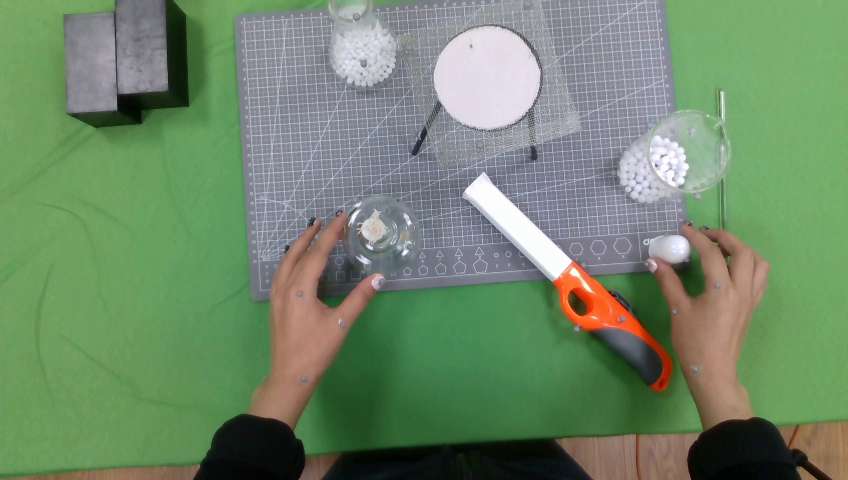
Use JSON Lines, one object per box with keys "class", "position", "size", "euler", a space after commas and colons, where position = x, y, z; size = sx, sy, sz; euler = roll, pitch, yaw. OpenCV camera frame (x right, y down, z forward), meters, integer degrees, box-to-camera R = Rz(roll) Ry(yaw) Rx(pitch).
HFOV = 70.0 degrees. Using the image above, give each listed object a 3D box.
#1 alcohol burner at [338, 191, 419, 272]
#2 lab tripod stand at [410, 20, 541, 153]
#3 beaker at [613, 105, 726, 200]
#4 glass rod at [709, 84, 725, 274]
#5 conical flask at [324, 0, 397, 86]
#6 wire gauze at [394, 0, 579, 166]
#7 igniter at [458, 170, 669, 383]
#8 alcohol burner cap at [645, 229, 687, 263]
{"class": "alcohol burner", "position": [-0.045, -0.010, 0.567], "size": [0.078, 0.119, 0.077], "euler": [0, 85, 2]}
{"class": "lab tripod stand", "position": [0.050, -0.131, 0.563], "size": [0.148, 0.131, 0.148], "euler": [0, 88, 1]}
{"class": "beaker", "position": [0.230, -0.080, 0.577], "size": [0.084, 0.100, 0.074], "euler": [-41, 87, -3]}
{"class": "glass rod", "position": [0.303, -0.064, 0.625], "size": [0.008, 0.008, 0.199], "euler": [-1, 86, 0]}
{"class": "conical flask", "position": [-0.066, -0.199, 0.573], "size": [0.075, 0.122, 0.075], "euler": [0, 86, 1]}
{"class": "wire gauze", "position": [0.051, -0.133, 0.496], "size": [0.125, 0.011, 0.121], "euler": [-17, 87, 0]}
{"class": "igniter", "position": [0.143, 0.036, 0.609], "size": [0.276, 0.025, 0.057], "euler": [44, 71, 2]}
{"class": "alcohol burner cap", "position": [0.243, 0.004, 0.601], "size": [0.034, 0.048, 0.034], "euler": [0, 84, 0]}
